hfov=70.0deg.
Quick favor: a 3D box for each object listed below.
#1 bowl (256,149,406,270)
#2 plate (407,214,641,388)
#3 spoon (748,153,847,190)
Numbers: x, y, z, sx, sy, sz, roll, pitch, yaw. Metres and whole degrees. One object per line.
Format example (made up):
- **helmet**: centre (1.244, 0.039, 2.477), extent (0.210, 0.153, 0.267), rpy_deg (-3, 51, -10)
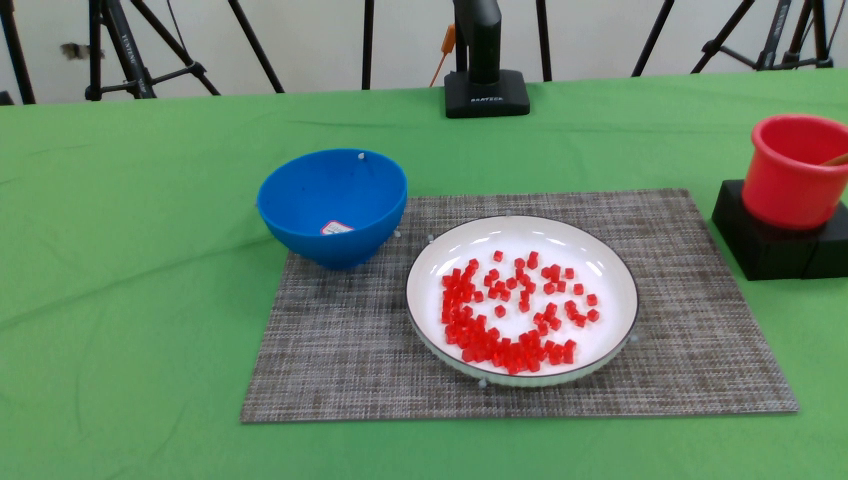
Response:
- **bowl**: centre (-0.090, -0.022, 0.628), extent (0.151, 0.077, 0.150), rpy_deg (-2, 41, 2)
- **plate**: centre (0.089, 0.054, 0.558), extent (0.207, 0.039, 0.205), rpy_deg (-2, 41, 2)
- **spoon**: centre (0.371, -0.069, 0.525), extent (0.042, 0.193, 0.021), rpy_deg (-25, 91, -23)
